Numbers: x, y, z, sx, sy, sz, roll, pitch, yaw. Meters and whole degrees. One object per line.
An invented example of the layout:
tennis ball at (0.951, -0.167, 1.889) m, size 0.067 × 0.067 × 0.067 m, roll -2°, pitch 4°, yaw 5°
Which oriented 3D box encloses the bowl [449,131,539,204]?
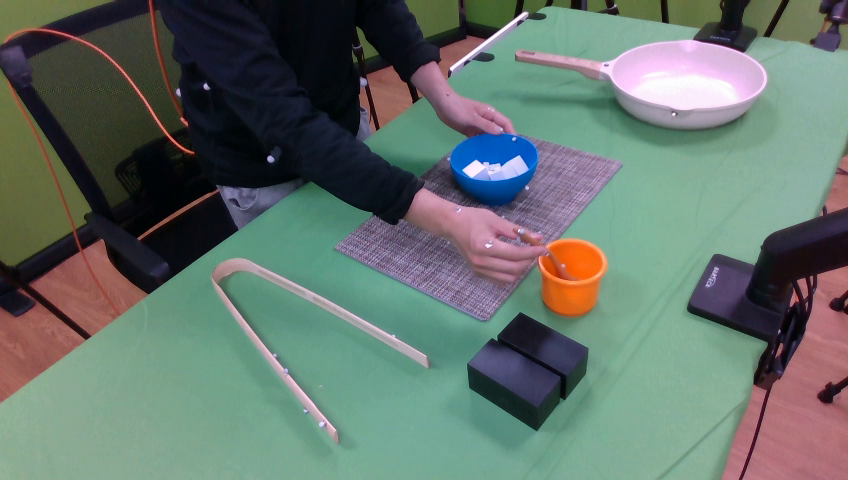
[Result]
bowl at (0.121, -0.114, 1.034) m, size 0.151 × 0.077 × 0.150 m, roll -4°, pitch 41°, yaw 4°

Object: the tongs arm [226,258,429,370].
tongs arm at (-0.150, 0.099, 0.873) m, size 0.384 × 0.028 × 0.028 m, roll 22°, pitch 50°, yaw 30°

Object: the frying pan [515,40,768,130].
frying pan at (0.423, -0.338, 1.236) m, size 0.486 × 0.103 × 0.307 m, roll 16°, pitch 44°, yaw 13°

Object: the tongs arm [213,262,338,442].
tongs arm at (-0.208, 0.136, 0.830) m, size 0.051 × 0.026 × 0.381 m, roll -31°, pitch 45°, yaw -28°

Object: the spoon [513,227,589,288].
spoon at (0.166, 0.023, 0.791) m, size 0.021 × 0.195 × 0.041 m, roll -53°, pitch 44°, yaw -2°
